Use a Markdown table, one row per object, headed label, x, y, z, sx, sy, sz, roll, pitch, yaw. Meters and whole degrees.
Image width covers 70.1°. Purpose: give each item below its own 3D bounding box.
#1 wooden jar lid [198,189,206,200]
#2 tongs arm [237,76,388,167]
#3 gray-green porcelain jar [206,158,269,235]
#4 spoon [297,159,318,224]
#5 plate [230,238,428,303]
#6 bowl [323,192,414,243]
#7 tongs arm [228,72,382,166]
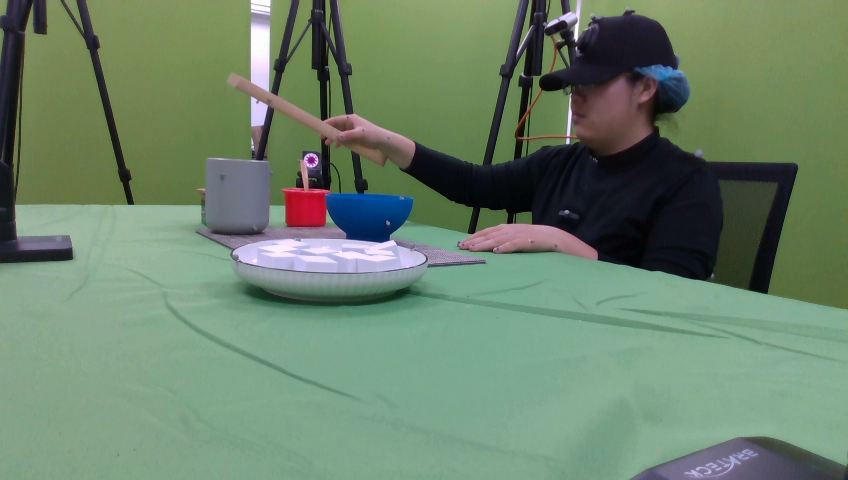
| label | x | y | z | sx | sy | sz | roll | pitch | yaw |
| --- | --- | --- | --- | --- | --- | --- | --- | --- | --- |
| wooden jar lid | -0.382 | -0.088 | 1.175 | 0.108 | 0.020 | 0.108 | 3 | 8 | 0 |
| tongs arm | -0.221 | -0.243 | 1.289 | 0.390 | 0.028 | 0.028 | 25 | 0 | -39 |
| gray-green porcelain jar | -0.322 | -0.076 | 1.048 | 0.106 | 0.126 | 0.106 | 3 | 7 | 0 |
| spoon | -0.244 | -0.103 | 1.251 | 0.042 | 0.021 | 0.193 | 2 | 51 | -18 |
| plate | -0.099 | 0.032 | 0.651 | 0.209 | 0.038 | 0.209 | 3 | 8 | 0 |
| bowl | -0.093 | -0.037 | 1.015 | 0.151 | 0.077 | 0.151 | 2 | 7 | 0 |
| tongs arm | -0.242 | -0.257 | 1.324 | 0.387 | 0.026 | 0.050 | 25 | 3 | -38 |
